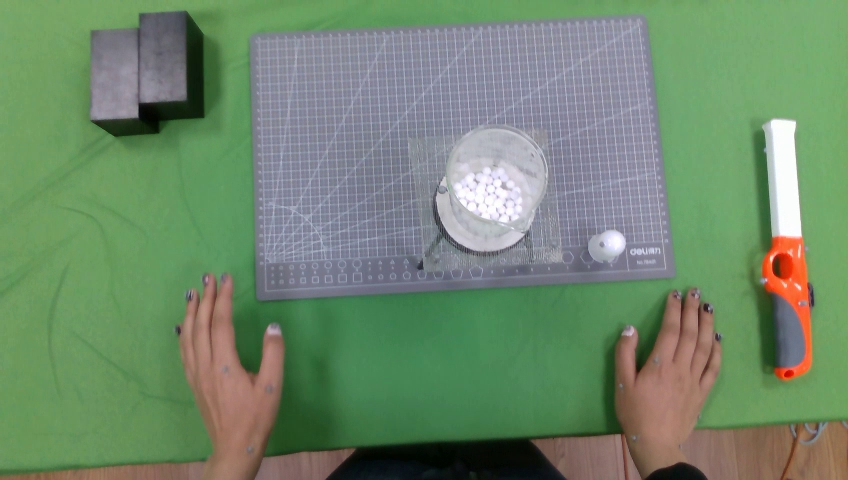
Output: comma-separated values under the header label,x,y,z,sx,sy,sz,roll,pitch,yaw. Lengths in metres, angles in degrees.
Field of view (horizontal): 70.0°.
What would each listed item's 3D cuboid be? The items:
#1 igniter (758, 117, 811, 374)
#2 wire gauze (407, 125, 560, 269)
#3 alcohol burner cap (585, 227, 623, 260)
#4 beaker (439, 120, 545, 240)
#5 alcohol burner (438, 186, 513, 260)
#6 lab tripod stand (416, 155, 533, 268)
label,x,y,z,sx,sy,sz,roll,pitch,yaw
igniter,0.385,0.003,0.650,0.057,0.025,0.275,2,82,-10
wire gauze,0.051,-0.038,0.530,0.125,0.011,0.121,-5,80,1
alcohol burner cap,0.192,0.002,0.638,0.034,0.048,0.033,0,80,1
beaker,0.052,-0.039,0.481,0.074,0.100,0.083,-26,82,-3
alcohol burner,0.053,-0.020,0.604,0.078,0.119,0.077,0,80,-1
lab tripod stand,0.049,-0.025,0.594,0.148,0.132,0.148,0,81,1
